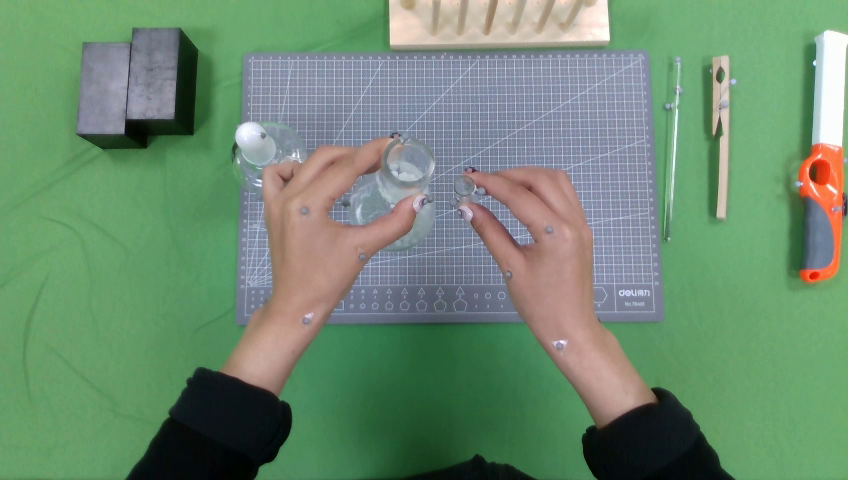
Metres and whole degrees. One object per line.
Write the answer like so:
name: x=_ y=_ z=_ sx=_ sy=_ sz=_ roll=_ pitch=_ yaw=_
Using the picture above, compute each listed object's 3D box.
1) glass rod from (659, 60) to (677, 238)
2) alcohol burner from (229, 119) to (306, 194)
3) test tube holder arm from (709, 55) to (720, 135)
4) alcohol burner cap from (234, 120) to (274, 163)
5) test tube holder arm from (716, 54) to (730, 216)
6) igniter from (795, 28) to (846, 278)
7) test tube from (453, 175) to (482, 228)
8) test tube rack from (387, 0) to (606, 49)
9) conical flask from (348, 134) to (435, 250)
glass rod: x=0.267 y=-0.101 z=0.662 sx=0.008 sy=0.008 sz=0.199 roll=6 pitch=85 yaw=1
alcohol burner: x=-0.161 y=-0.088 z=0.603 sx=0.078 sy=0.119 sz=0.077 roll=0 pitch=81 yaw=3
test tube holder arm: x=0.320 y=-0.159 z=0.666 sx=0.010 sy=0.015 sz=0.087 roll=-3 pitch=82 yaw=37
alcohol burner cap: x=-0.161 y=-0.095 z=0.567 sx=0.034 sy=0.048 sz=0.033 roll=1 pitch=78 yaw=-4
test tube holder arm: x=0.324 y=-0.115 z=0.657 sx=0.013 sy=0.015 sz=0.178 roll=-5 pitch=81 yaw=36
igniter: x=0.428 y=-0.094 z=0.651 sx=0.057 sy=0.025 sz=0.275 roll=9 pitch=83 yaw=-9
test tube: x=0.037 y=-0.029 z=0.496 sx=0.017 sy=0.151 sz=0.017 roll=-1 pitch=82 yaw=7
test tube rack: x=0.080 y=-0.256 z=0.643 sx=0.242 sy=0.085 sz=0.066 roll=-1 pitch=82 yaw=0
conical flask: x=-0.021 y=-0.040 z=0.473 sx=0.075 sy=0.122 sz=0.075 roll=2 pitch=76 yaw=-8
